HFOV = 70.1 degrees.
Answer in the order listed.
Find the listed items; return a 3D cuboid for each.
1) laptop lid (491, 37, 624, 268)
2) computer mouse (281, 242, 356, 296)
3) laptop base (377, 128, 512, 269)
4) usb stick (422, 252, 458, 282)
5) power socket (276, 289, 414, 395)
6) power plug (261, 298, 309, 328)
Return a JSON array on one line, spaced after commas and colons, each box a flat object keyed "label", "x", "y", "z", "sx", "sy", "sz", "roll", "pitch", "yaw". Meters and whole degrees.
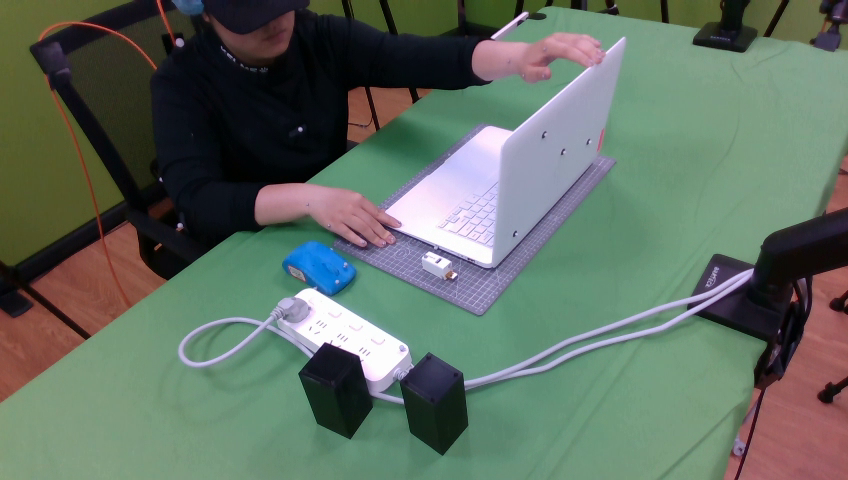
[{"label": "laptop lid", "x": 0.207, "y": -0.135, "z": 0.916, "sx": 0.013, "sy": 0.242, "sz": 0.358, "roll": 27, "pitch": 49, "yaw": 26}, {"label": "computer mouse", "x": -0.164, "y": 0.041, "z": 0.934, "sx": 0.116, "sy": 0.041, "sz": 0.063, "roll": 27, "pitch": 48, "yaw": 28}, {"label": "laptop base", "x": 0.115, "y": -0.088, "z": 1.058, "sx": 0.233, "sy": 0.023, "sz": 0.355, "roll": 20, "pitch": 47, "yaw": 33}, {"label": "usb stick", "x": 0.025, "y": 0.042, "z": 0.908, "sx": 0.058, "sy": 0.027, "sz": 0.021, "roll": 27, "pitch": 51, "yaw": 31}, {"label": "power socket", "x": -0.115, "y": 0.133, "z": 0.821, "sx": 0.225, "sy": 0.033, "sz": 0.072, "roll": 26, "pitch": 49, "yaw": 33}, {"label": "power plug", "x": -0.193, "y": 0.107, "z": 0.831, "sx": 0.073, "sy": 0.053, "sz": 0.035, "roll": -32, "pitch": 43, "yaw": -25}]
